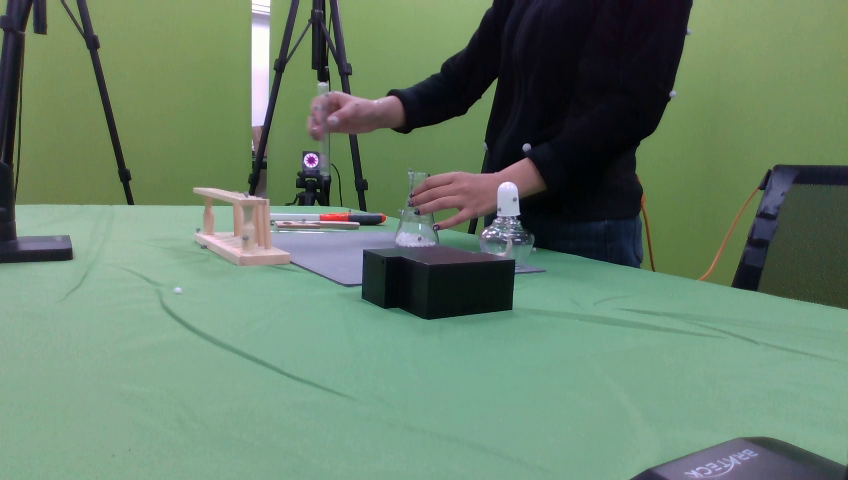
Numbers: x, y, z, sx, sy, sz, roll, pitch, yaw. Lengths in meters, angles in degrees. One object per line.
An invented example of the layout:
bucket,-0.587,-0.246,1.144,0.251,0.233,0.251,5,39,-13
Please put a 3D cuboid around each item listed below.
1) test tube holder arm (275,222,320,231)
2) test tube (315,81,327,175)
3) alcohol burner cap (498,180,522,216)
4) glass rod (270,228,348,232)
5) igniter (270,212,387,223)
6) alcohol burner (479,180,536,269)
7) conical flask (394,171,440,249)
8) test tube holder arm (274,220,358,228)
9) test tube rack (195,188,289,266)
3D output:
test tube holder arm,-0.239,-0.026,1.144,0.088,0.015,0.010,-3,45,-39
test tube,-0.167,-0.180,0.978,0.017,0.150,0.017,-1,2,0
alcohol burner cap,0.113,-0.056,0.809,0.034,0.048,0.034,-5,12,1
glass rod,-0.235,-0.018,1.104,0.201,0.008,0.008,1,7,-26
igniter,-0.213,-0.047,1.278,0.278,0.025,0.057,-1,-2,-25
alcohol burner,0.113,-0.021,0.815,0.078,0.119,0.078,2,9,0
conical flask,-0.009,-0.050,0.969,0.075,0.122,0.075,2,7,0
test tube holder arm,-0.206,-0.031,1.176,0.179,0.015,0.013,-4,46,-39
test tube rack,-0.266,-0.025,0.863,0.067,0.085,0.241,-2,8,-33
